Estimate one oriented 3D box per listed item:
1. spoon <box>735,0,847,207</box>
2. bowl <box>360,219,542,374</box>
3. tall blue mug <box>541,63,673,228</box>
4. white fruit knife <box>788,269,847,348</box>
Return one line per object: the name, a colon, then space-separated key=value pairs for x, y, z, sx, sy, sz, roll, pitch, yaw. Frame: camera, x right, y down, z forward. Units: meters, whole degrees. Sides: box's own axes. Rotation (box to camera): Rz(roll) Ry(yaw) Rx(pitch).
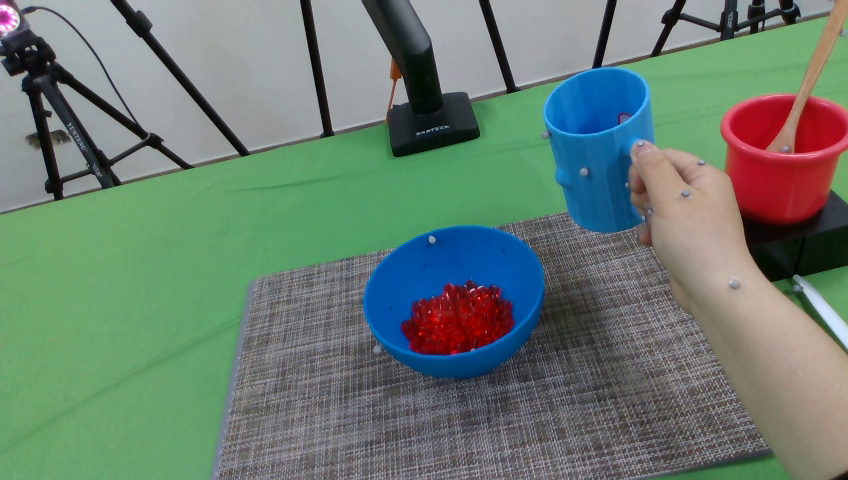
spoon: x=0.313 y=-0.118 z=0.507 sx=0.041 sy=0.022 sz=0.194 roll=26 pitch=99 yaw=40
bowl: x=0.028 y=0.060 z=0.516 sx=0.151 sy=0.077 sz=0.150 roll=-9 pitch=41 yaw=8
tall blue mug: x=0.153 y=-0.068 z=0.472 sx=0.106 sy=0.109 sz=0.077 roll=20 pitch=63 yaw=37
white fruit knife: x=0.327 y=0.090 z=0.446 sx=0.027 sy=0.016 sz=0.205 roll=8 pitch=37 yaw=-13
